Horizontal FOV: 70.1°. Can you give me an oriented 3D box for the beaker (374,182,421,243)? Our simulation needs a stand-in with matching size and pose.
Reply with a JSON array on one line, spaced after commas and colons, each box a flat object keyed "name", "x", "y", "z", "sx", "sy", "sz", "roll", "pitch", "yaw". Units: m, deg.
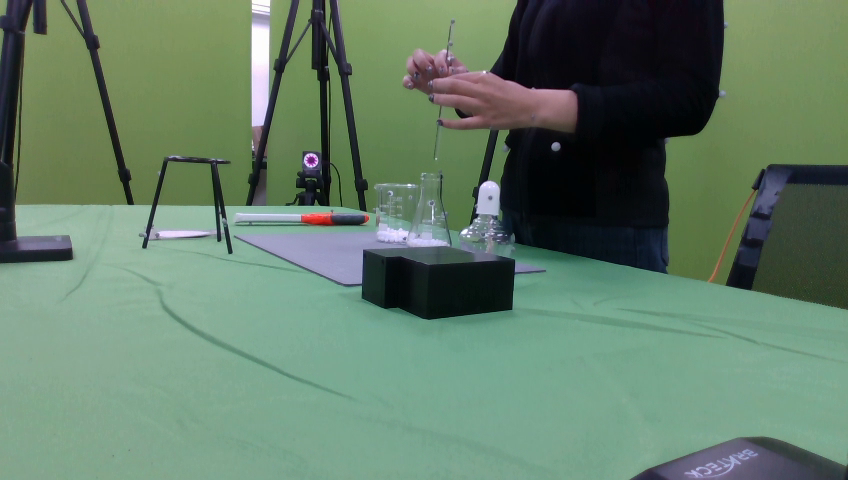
[{"name": "beaker", "x": -0.049, "y": -0.048, "z": 1.031, "sx": 0.083, "sy": 0.100, "sz": 0.074, "roll": 5, "pitch": 7, "yaw": 24}]

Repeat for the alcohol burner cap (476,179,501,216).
[{"name": "alcohol burner cap", "x": 0.086, "y": -0.057, "z": 0.801, "sx": 0.034, "sy": 0.048, "sz": 0.034, "roll": 4, "pitch": 2, "yaw": 0}]

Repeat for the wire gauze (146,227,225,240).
[{"name": "wire gauze", "x": -0.400, "y": -0.012, "z": 1.019, "sx": 0.122, "sy": 0.011, "sz": 0.124, "roll": -1, "pitch": 6, "yaw": -26}]

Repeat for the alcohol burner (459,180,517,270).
[{"name": "alcohol burner", "x": 0.086, "y": -0.021, "z": 0.805, "sx": 0.078, "sy": 0.119, "sz": 0.078, "roll": 3, "pitch": 9, "yaw": 0}]

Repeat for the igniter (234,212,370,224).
[{"name": "igniter", "x": -0.247, "y": -0.046, "z": 1.253, "sx": 0.278, "sy": 0.025, "sz": 0.057, "roll": -1, "pitch": -2, "yaw": -27}]

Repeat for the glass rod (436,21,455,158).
[{"name": "glass rod", "x": 0.032, "y": -0.223, "z": 0.903, "sx": 0.008, "sy": 0.199, "sz": 0.008, "roll": 6, "pitch": 8, "yaw": -1}]

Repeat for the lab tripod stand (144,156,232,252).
[{"name": "lab tripod stand", "x": -0.325, "y": -0.054, "z": 0.881, "sx": 0.148, "sy": 0.131, "sz": 0.148, "roll": 4, "pitch": 7, "yaw": 0}]

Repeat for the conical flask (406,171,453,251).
[{"name": "conical flask", "x": 0.011, "y": -0.046, "z": 0.948, "sx": 0.075, "sy": 0.122, "sz": 0.075, "roll": 2, "pitch": 7, "yaw": 0}]
